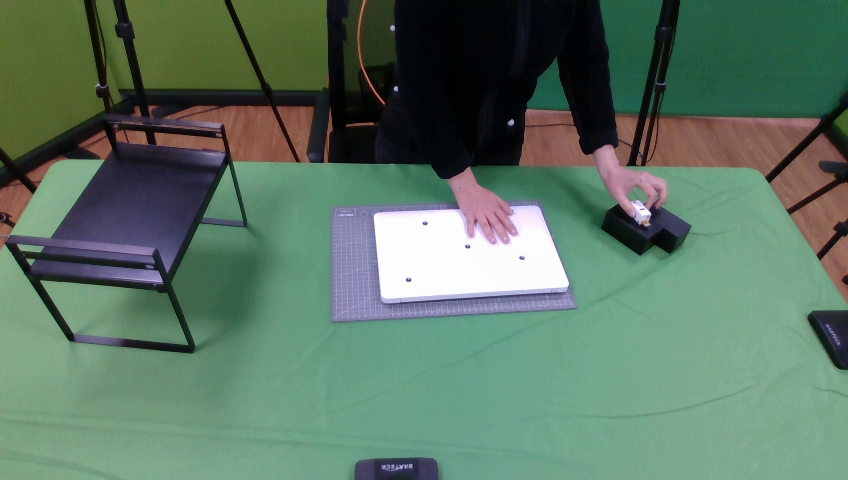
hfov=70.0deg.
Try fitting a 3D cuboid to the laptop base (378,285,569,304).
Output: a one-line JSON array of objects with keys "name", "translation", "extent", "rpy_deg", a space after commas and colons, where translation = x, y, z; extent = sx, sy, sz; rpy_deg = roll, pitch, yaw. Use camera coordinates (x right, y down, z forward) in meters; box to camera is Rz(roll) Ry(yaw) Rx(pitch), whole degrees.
[{"name": "laptop base", "translation": [0.083, 0.025, 1.181], "extent": [0.355, 0.023, 0.234], "rpy_deg": [-3, 43, -7]}]

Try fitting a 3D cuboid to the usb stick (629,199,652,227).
[{"name": "usb stick", "translation": [0.433, -0.052, 1.203], "extent": [0.021, 0.027, 0.059], "rpy_deg": [-11, 51, -12]}]

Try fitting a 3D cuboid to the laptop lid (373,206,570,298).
[{"name": "laptop lid", "translation": [0.083, 0.015, 1.175], "extent": [0.357, 0.013, 0.240], "rpy_deg": [-2, 44, -6]}]
